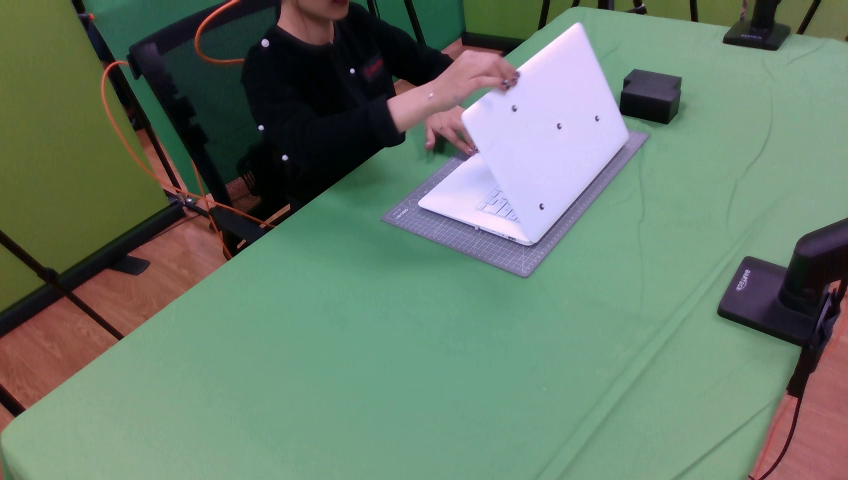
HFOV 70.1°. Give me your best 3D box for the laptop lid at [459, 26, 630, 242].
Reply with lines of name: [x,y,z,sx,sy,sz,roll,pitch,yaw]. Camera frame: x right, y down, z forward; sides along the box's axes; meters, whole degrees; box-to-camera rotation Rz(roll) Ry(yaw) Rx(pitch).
laptop lid: [0.216,-0.186,0.994,0.358,0.242,0.013,-42,18,-34]

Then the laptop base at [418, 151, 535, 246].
laptop base: [0.183,-0.122,1.095,0.233,0.023,0.355,19,48,34]
